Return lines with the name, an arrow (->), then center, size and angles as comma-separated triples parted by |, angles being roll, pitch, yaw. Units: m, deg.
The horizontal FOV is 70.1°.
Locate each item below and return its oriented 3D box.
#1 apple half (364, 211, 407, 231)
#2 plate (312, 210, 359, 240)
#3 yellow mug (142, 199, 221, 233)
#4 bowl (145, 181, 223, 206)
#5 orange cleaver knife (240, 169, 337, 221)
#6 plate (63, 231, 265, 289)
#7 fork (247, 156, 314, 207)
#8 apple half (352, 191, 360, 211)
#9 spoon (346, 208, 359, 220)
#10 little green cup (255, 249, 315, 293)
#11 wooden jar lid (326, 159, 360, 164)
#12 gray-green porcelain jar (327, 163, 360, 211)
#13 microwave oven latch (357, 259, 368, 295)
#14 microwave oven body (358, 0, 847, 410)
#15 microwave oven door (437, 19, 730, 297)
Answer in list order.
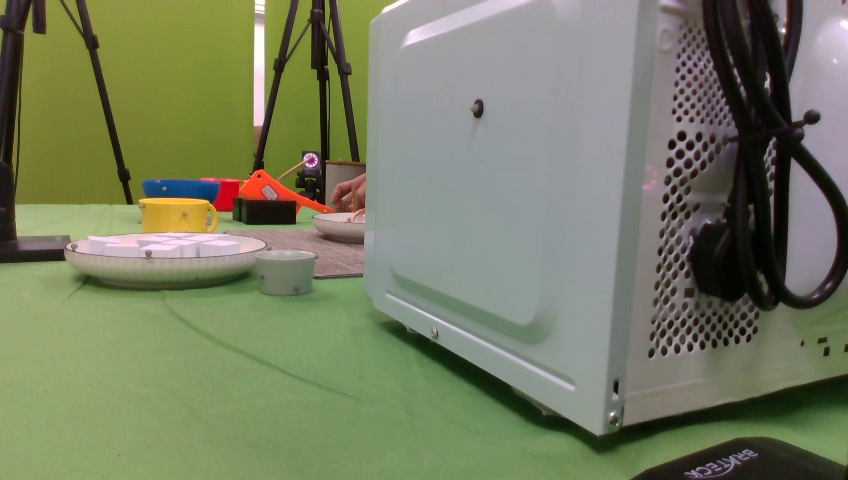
apple half -> -0.068, -0.036, 1.103 | 0.081, 0.033, 0.081 | 0, 9, 0
plate -> -0.091, -0.026, 1.063 | 0.209, 0.038, 0.209 | 2, 7, 0
yellow mug -> -0.373, -0.030, 0.948 | 0.099, 0.064, 0.131 | 6, 7, 30
bowl -> -0.499, -0.081, 1.261 | 0.151, 0.077, 0.151 | 2, 8, 0
orange cleaver knife -> -0.287, -0.082, 1.299 | 0.212, 0.077, 0.012 | 25, -2, -31
plate -> -0.288, 0.021, 0.687 | 0.208, 0.039, 0.207 | 2, 8, 0
fork -> -0.360, -0.147, 1.522 | 0.207, 0.018, 0.028 | -43, 13, -7
apple half -> -0.103, -0.069, 1.261 | 0.081, 0.074, 0.053 | 4, 0, -31
spoon -> -0.123, -0.047, 1.117 | 0.041, 0.021, 0.194 | -11, 15, 20
little green cup -> -0.144, 0.032, 0.627 | 0.061, 0.038, 0.061 | 2, 5, 0
wooden jar lid -> -0.185, -0.187, 1.481 | 0.108, 0.020, 0.108 | 4, 6, 0
gray-green porcelain jar -> -0.187, -0.125, 1.490 | 0.106, 0.126, 0.106 | 2, 8, 0
microwave oven latch -> -0.019, 0.031, 0.529 | 0.079, 0.029, 0.030 | -1, 7, -26
microwave oven body -> 0.210, -0.051, 0.471 | 0.444, 0.260, 0.324 | -1, 7, -28
microwave oven door -> 0.180, -0.076, 0.618 | 0.358, 0.243, 0.039 | -2, 9, -28
